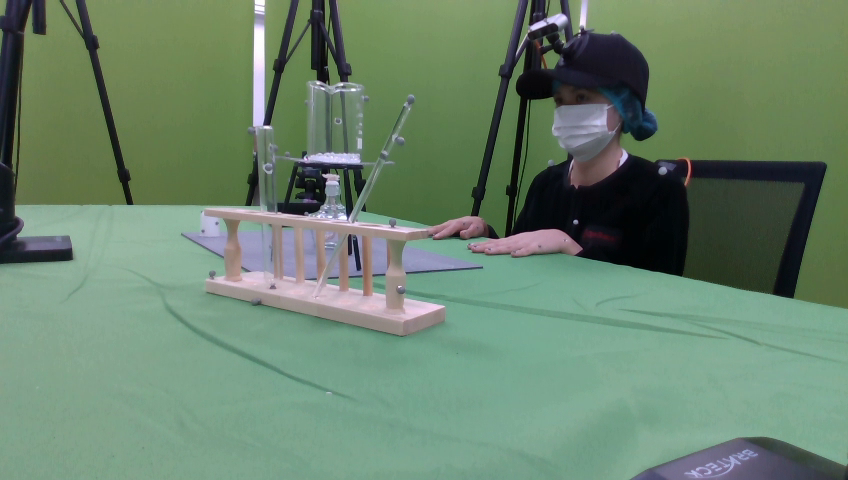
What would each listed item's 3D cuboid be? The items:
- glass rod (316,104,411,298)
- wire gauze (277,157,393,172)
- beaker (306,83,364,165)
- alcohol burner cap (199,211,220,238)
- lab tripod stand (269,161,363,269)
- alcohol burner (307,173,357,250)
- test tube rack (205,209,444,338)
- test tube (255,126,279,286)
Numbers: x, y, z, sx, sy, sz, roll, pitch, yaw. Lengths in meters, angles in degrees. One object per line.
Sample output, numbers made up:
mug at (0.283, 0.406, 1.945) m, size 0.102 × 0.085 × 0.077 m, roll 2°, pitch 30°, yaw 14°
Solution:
glass rod at (-0.055, -0.026, 0.517) m, size 0.008 × 0.199 × 0.008 m, roll 23°, pitch 24°, yaw -11°
wire gauze at (-0.122, -0.100, 0.786) m, size 0.122 × 0.011 × 0.124 m, roll -5°, pitch 14°, yaw -38°
beaker at (-0.115, -0.147, 0.775) m, size 0.074 × 0.100 × 0.084 m, roll 2°, pitch 8°, yaw -2°
alcohol burner cap at (-0.355, -0.027, 1.002) m, size 0.034 × 0.048 × 0.034 m, roll 2°, pitch 7°, yaw 0°
lab tripod stand at (-0.125, -0.036, 0.794) m, size 0.148 × 0.131 × 0.148 m, roll 5°, pitch 7°, yaw 0°
alcohol burner at (-0.144, -0.045, 0.940) m, size 0.078 × 0.119 × 0.078 m, roll 1°, pitch 8°, yaw 0°
test tube rack at (-0.100, 0.021, 0.565) m, size 0.241 × 0.085 × 0.067 m, roll 7°, pitch 9°, yaw 32°
test tube at (-0.147, -0.031, 0.566) m, size 0.017 × 0.150 × 0.017 m, roll -1°, pitch 8°, yaw 0°
